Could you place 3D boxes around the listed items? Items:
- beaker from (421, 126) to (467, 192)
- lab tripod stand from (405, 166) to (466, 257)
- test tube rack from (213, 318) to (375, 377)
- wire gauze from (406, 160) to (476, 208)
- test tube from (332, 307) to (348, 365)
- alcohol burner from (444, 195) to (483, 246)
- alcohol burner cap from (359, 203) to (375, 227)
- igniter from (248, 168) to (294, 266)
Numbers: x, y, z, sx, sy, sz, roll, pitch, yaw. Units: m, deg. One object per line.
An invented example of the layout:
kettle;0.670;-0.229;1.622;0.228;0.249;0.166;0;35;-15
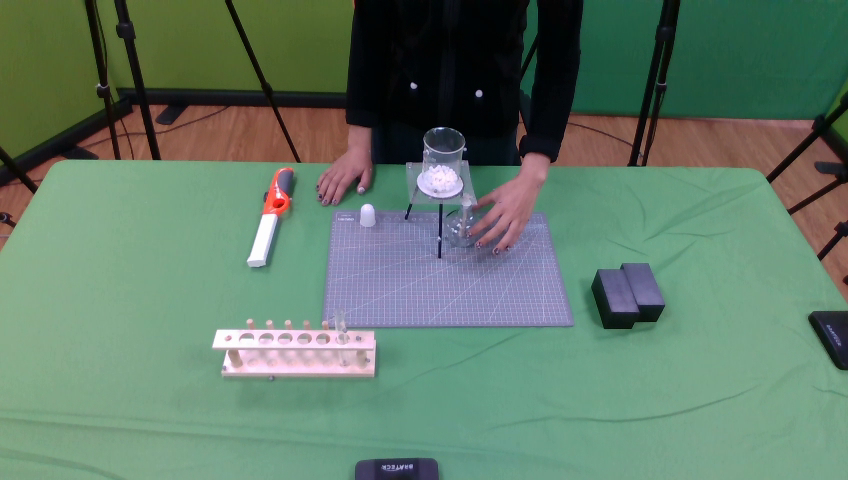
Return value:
beaker;0.031;-0.146;1.100;0.074;0.101;0.083;-16;50;-20
lab tripod stand;0.030;-0.063;1.180;0.148;0.132;0.147;3;47;-3
test tube rack;-0.202;0.169;0.977;0.242;0.085;0.066;1;46;-3
wire gauze;0.031;-0.107;1.130;0.125;0.011;0.120;1;48;-7
test tube;-0.128;0.151;0.931;0.017;0.151;0.017;1;50;-2
alcohol burner;0.078;-0.044;1.179;0.078;0.120;0.077;1;48;-1
alcohol burner cap;-0.115;-0.053;1.224;0.034;0.048;0.033;3;47;-3
igniter;-0.307;-0.055;1.225;0.057;0.025;0.275;-3;45;6
